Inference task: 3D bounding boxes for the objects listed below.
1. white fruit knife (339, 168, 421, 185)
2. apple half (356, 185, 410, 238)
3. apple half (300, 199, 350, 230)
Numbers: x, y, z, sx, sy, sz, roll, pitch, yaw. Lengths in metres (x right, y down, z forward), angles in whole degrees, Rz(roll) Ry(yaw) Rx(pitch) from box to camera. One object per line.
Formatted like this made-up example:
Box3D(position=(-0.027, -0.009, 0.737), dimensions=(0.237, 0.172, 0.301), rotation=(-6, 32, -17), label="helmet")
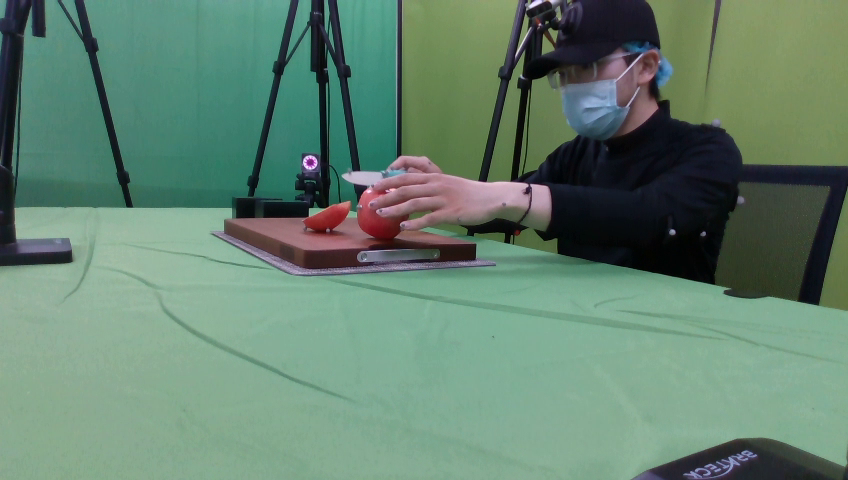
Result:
Box3D(position=(-0.066, -0.104, 0.975), dimensions=(0.016, 0.027, 0.208), rotation=(3, 5, 33), label="white fruit knife")
Box3D(position=(-0.053, -0.038, 0.874), dimensions=(0.053, 0.074, 0.081), rotation=(26, 11, 39), label="apple half")
Box3D(position=(-0.147, -0.035, 0.942), dimensions=(0.081, 0.033, 0.081), rotation=(-22, 1, 1), label="apple half")
